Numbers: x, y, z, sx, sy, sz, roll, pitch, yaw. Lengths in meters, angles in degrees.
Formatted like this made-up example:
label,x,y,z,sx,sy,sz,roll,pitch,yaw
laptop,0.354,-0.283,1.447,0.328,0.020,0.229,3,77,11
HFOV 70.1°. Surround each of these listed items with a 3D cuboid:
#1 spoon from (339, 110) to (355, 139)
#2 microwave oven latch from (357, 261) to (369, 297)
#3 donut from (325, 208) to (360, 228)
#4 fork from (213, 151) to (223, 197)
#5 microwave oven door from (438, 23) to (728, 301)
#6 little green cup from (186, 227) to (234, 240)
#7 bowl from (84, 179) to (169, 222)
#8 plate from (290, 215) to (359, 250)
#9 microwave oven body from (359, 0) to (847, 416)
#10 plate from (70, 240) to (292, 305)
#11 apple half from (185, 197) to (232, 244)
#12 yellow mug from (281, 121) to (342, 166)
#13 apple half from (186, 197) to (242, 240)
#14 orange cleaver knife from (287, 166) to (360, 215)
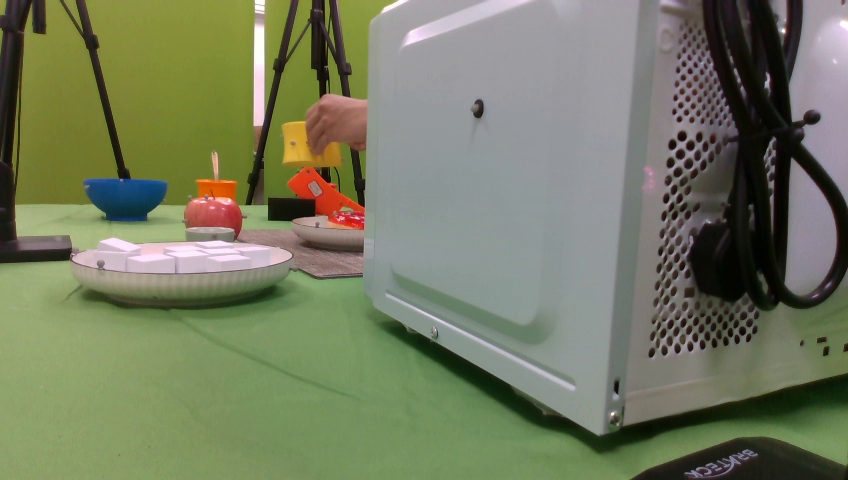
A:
label,x,y,z,sx,sy,sz,roll,pitch,yaw
spoon,-0.191,-0.268,1.402,0.041,0.022,0.193,-3,34,15
microwave oven latch,-0.019,0.033,0.530,0.079,0.029,0.030,-1,7,-26
donut,-0.110,-0.025,0.974,0.099,0.048,0.099,4,9,0
fork,-0.494,-0.143,1.442,0.028,0.018,0.206,-2,52,-20
microwave oven door,0.181,-0.072,0.620,0.358,0.243,0.039,-2,8,-29
little green cup,-0.285,0.005,0.805,0.061,0.038,0.061,2,8,0
bowl,-0.584,-0.078,1.194,0.151,0.077,0.151,3,8,0
plate,-0.110,-0.014,0.974,0.209,0.038,0.209,3,8,0
microwave oven body,0.211,-0.047,0.474,0.444,0.260,0.324,-1,7,-28
plate,-0.242,0.031,0.618,0.208,0.039,0.207,2,8,0
apple half,-0.337,-0.031,0.927,0.032,0.081,0.082,13,12,37
yellow mug,-0.185,-0.163,1.014,0.100,0.064,0.130,-2,2,-23
apple half,-0.306,-0.026,0.904,0.053,0.074,0.081,14,9,38
orange cleaver knife,-0.211,-0.092,1.382,0.212,0.077,0.012,33,1,-15
